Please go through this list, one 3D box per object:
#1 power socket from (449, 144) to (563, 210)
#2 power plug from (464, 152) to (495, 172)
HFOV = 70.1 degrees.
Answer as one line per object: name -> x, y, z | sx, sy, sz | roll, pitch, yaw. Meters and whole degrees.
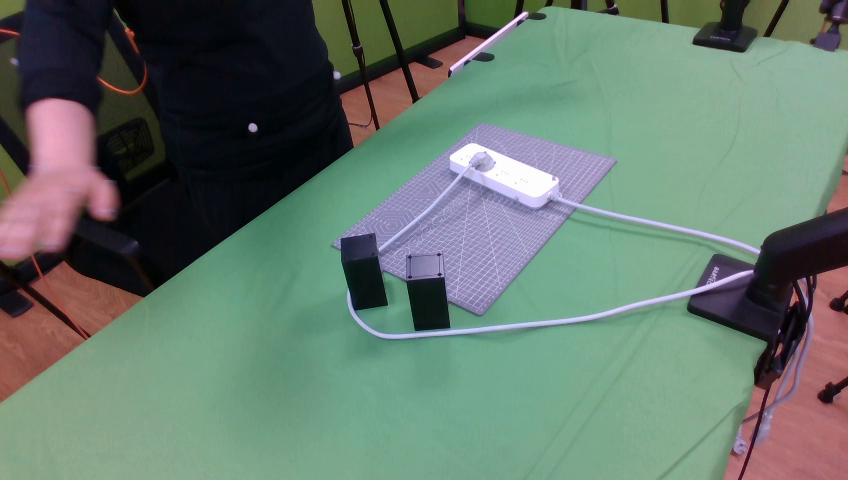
power socket -> 0.139, -0.115, 1.072 | 0.225, 0.033, 0.072 | 30, 53, 35
power plug -> 0.093, -0.127, 1.065 | 0.073, 0.053, 0.035 | -29, 44, -21
